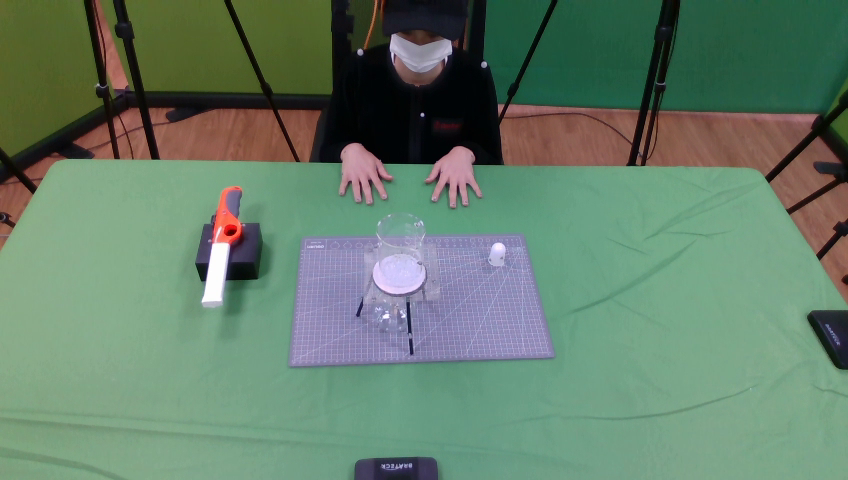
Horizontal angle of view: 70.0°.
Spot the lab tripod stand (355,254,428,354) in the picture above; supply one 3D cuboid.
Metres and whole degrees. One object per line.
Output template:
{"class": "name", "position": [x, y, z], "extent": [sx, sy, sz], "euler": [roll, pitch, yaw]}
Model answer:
{"class": "lab tripod stand", "position": [-0.046, 0.100, 1.017], "extent": [0.148, 0.132, 0.147], "euler": [1, 47, -1]}

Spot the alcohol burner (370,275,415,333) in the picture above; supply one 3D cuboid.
{"class": "alcohol burner", "position": [-0.054, 0.103, 1.026], "extent": [0.078, 0.120, 0.077], "euler": [1, 44, -1]}

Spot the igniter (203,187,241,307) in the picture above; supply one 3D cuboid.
{"class": "igniter", "position": [-0.365, 0.003, 1.098], "extent": [0.057, 0.025, 0.274], "euler": [-1, 49, -7]}

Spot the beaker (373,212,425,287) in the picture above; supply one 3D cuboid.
{"class": "beaker", "position": [-0.036, 0.019, 0.936], "extent": [0.074, 0.101, 0.083], "euler": [-29, 54, -26]}

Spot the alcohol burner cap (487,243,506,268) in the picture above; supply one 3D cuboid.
{"class": "alcohol burner cap", "position": [0.141, 0.027, 1.166], "extent": [0.034, 0.048, 0.033], "euler": [2, 45, -2]}

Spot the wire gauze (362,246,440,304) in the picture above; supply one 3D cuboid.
{"class": "wire gauze", "position": [-0.038, 0.052, 0.972], "extent": [0.121, 0.011, 0.124], "euler": [0, 44, -5]}
